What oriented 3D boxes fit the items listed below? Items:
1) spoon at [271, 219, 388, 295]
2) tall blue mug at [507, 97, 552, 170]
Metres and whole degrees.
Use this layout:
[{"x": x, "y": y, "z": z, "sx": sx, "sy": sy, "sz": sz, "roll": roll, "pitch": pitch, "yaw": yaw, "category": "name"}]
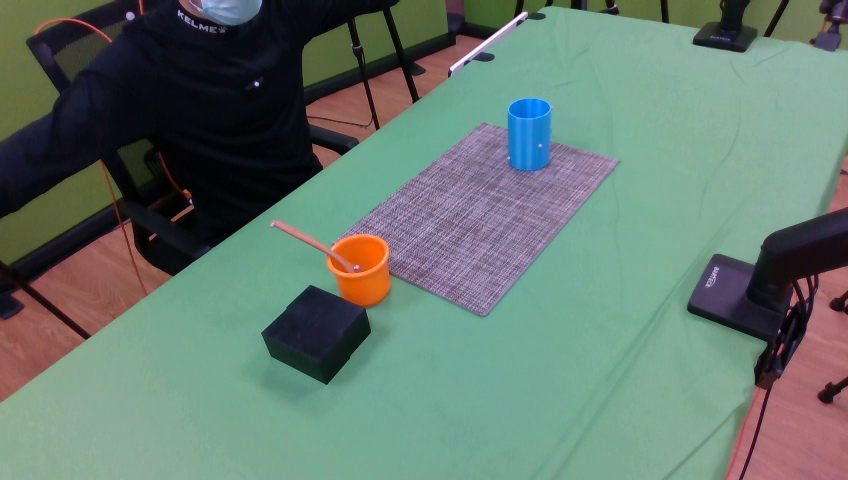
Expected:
[{"x": -0.133, "y": 0.022, "z": 0.865, "sx": 0.021, "sy": 0.195, "sz": 0.041, "roll": -34, "pitch": 28, "yaw": 41, "category": "spoon"}, {"x": 0.179, "y": -0.198, "z": 1.101, "sx": 0.078, "sy": 0.108, "sz": 0.106, "roll": -36, "pitch": 49, "yaw": -28, "category": "tall blue mug"}]
